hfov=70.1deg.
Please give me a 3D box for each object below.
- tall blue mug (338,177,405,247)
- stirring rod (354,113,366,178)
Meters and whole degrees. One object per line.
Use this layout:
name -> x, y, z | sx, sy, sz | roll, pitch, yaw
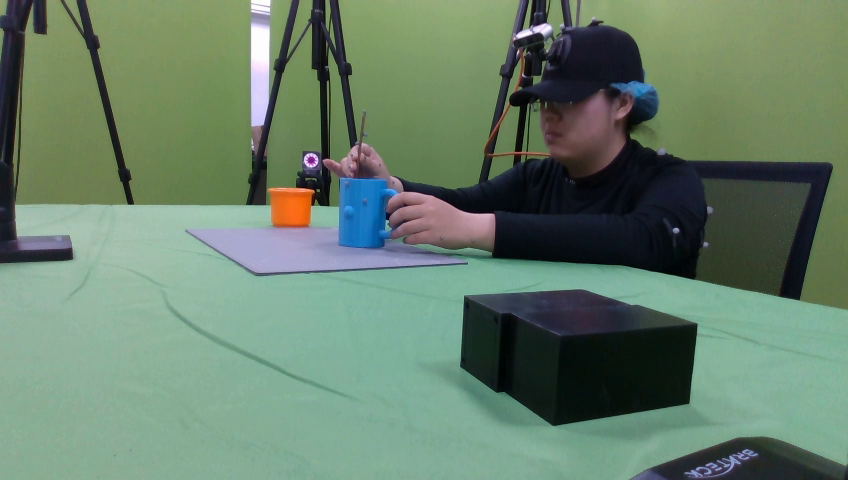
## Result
tall blue mug -> -0.083, -0.045, 0.973 | 0.107, 0.108, 0.078 | 2, 6, 0
stirring rod -> -0.107, -0.116, 0.966 | 0.006, 0.176, 0.014 | 7, 0, -9
